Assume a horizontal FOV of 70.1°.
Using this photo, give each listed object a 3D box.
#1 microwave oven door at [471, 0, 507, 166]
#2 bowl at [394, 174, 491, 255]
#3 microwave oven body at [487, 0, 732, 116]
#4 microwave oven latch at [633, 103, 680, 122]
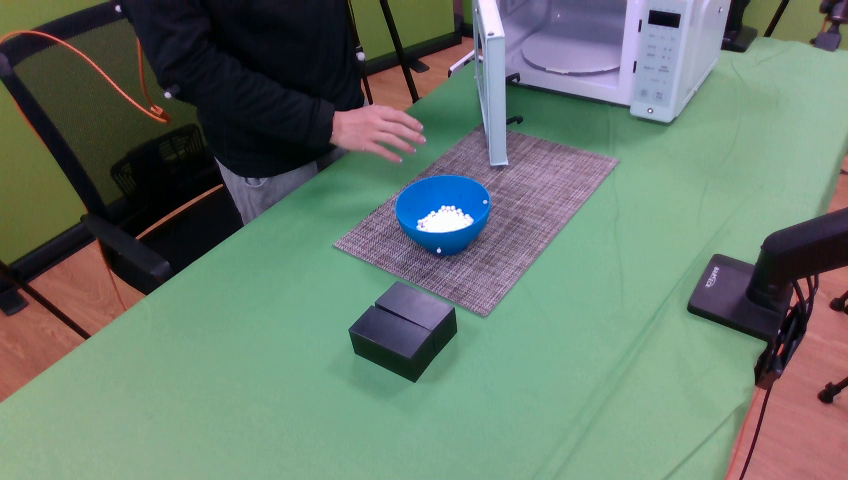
[{"bbox_3d":[0.121,-0.340,1.153,0.039,0.245,0.354,-5,40,3],"label":"microwave oven door"},{"bbox_3d":[0.032,-0.030,0.949,0.151,0.077,0.150,-4,40,4],"label":"bowl"},{"bbox_3d":[0.377,-0.463,1.267,0.438,0.261,0.327,21,49,30],"label":"microwave oven body"},{"bbox_3d":[0.443,-0.249,1.157,0.078,0.029,0.030,20,48,30],"label":"microwave oven latch"}]
